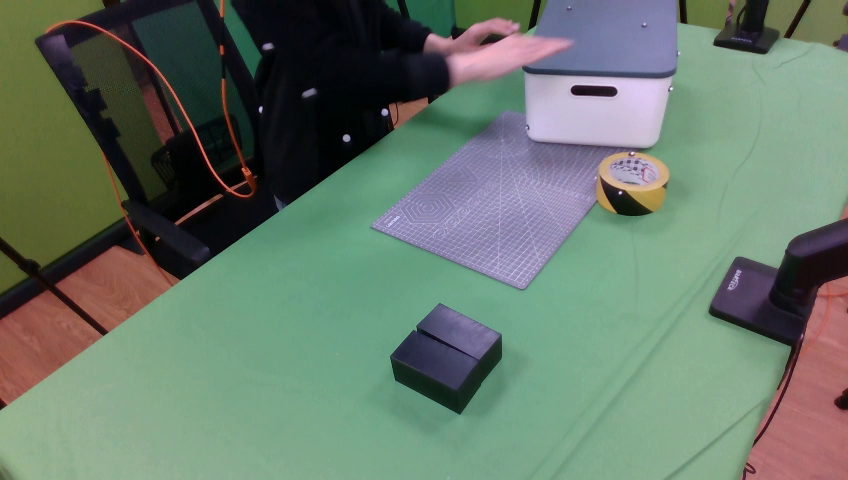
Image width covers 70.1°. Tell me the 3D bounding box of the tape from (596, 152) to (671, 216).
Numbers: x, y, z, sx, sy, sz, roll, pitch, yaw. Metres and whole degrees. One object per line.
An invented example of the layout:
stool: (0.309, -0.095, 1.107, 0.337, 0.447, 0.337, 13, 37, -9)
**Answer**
tape: (0.349, -0.095, 1.009, 0.117, 0.053, 0.116, -3, 42, 3)

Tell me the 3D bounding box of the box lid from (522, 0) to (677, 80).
box lid: (0.346, -0.397, 1.163, 0.262, 0.015, 0.371, 6, 42, 17)

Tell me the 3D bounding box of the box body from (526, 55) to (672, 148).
box body: (0.356, -0.342, 1.212, 0.253, 0.161, 0.363, 7, 42, 17)
